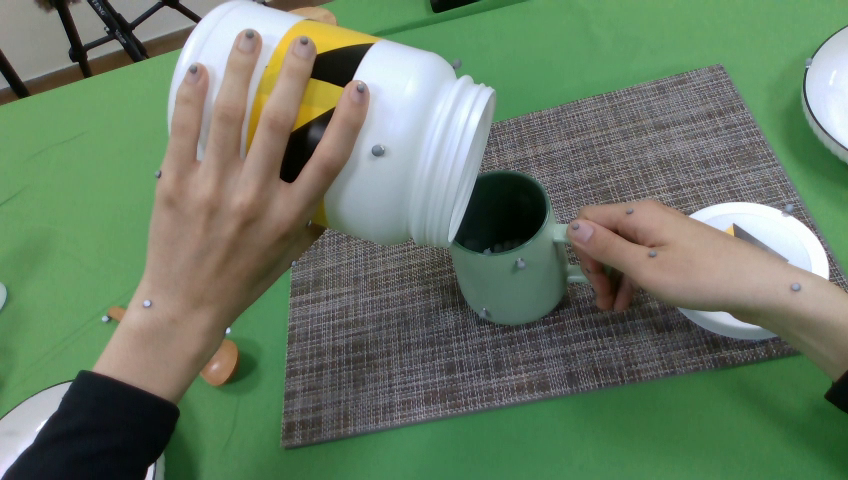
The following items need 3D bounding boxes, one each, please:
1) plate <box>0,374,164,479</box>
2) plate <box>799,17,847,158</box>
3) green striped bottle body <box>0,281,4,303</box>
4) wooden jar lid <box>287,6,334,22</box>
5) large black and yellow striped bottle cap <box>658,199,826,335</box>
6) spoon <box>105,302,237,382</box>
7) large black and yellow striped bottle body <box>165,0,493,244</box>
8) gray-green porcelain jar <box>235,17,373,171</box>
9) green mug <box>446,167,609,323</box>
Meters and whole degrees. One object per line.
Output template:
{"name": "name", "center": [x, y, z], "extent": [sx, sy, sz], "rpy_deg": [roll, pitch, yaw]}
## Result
{"name": "plate", "center": [-0.303, 0.214, 0.496], "extent": [0.209, 0.038, 0.207], "rpy_deg": [-8, 54, 12]}
{"name": "plate", "center": [0.422, -0.119, 0.493], "extent": [0.207, 0.039, 0.205], "rpy_deg": [-8, 55, 12]}
{"name": "green striped bottle body", "center": [-0.511, 0.039, 0.630], "extent": [0.063, 0.120, 0.062], "rpy_deg": [-9, 54, 13]}
{"name": "wooden jar lid", "center": [-0.133, -0.182, 0.576], "extent": [0.108, 0.021, 0.107], "rpy_deg": [-11, 53, 15]}
{"name": "large black and yellow striped bottle cap", "center": [0.242, 0.018, 0.466], "extent": [0.115, 0.019, 0.114], "rpy_deg": [-9, 54, 13]}
{"name": "spoon", "center": [-0.244, 0.087, 0.573], "extent": [0.192, 0.022, 0.041], "rpy_deg": [17, 82, 26]}
{"name": "large black and yellow striped bottle body", "center": [-0.056, -0.075, 0.407], "extent": [0.184, 0.131, 0.130], "rpy_deg": [18, 62, 6]}
{"name": "gray-green porcelain jar", "center": [-0.116, -0.144, 0.624], "extent": [0.105, 0.128, 0.105], "rpy_deg": [-9, 50, 12]}
{"name": "green mug", "center": [0.079, 0.007, 0.470], "extent": [0.125, 0.106, 0.092], "rpy_deg": [4, 58, 21]}
